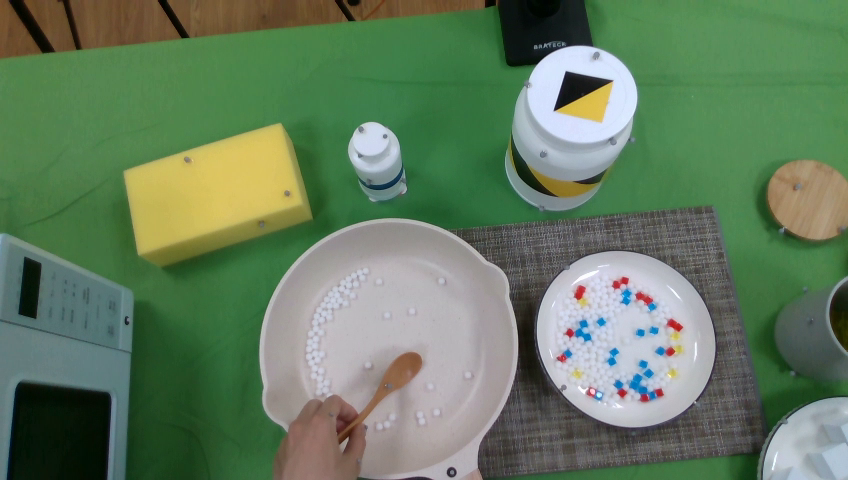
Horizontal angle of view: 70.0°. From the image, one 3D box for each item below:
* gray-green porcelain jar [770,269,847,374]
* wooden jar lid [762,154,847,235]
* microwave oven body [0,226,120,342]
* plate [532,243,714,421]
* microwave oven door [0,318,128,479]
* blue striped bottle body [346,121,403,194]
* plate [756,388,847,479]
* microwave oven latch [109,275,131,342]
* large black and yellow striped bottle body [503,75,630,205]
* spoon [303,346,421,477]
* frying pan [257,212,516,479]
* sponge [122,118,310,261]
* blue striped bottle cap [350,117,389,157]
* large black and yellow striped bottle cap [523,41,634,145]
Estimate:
[{"bbox_3d":[0.461,0.094,0.673,0.106,0.127,0.105,0,74,2],"label":"gray-green porcelain jar"},{"bbox_3d":[0.484,-0.057,0.770,0.108,0.021,0.108,0,76,2],"label":"wooden jar lid"},{"bbox_3d":[-0.511,0.238,0.592,0.326,0.261,0.439,-5,75,0],"label":"microwave oven body"},{"bbox_3d":[0.231,0.107,0.719,0.209,0.038,0.208,-1,74,2],"label":"plate"},{"bbox_3d":[-0.364,0.264,0.574,0.039,0.245,0.353,-5,74,1],"label":"microwave oven door"},{"bbox_3d":[-0.061,-0.106,0.750,0.063,0.121,0.062,-1,74,2],"label":"blue striped bottle body"},{"bbox_3d":[0.470,0.269,0.670,0.207,0.039,0.206,-1,74,2],"label":"plate"},{"bbox_3d":[-0.373,0.083,0.731,0.030,0.029,0.078,-4,75,1],"label":"microwave oven latch"},{"bbox_3d":[0.165,-0.131,0.717,0.131,0.185,0.130,-1,73,2],"label":"large black and yellow striped bottle body"},{"bbox_3d":[-0.065,0.183,0.664,0.041,0.021,0.193,50,46,-1],"label":"spoon"},{"bbox_3d":[0.007,0.196,0.668,0.307,0.103,0.483,-28,67,-5],"label":"frying pan"},{"bbox_3d":[-0.264,-0.064,0.776,0.207,0.061,0.117,-18,74,-4],"label":"sponge"},{"bbox_3d":[-0.063,-0.119,0.700,0.044,0.021,0.044,-1,71,4],"label":"blue striped bottle cap"},{"bbox_3d":[0.163,-0.156,0.637,0.115,0.019,0.114,0,76,2],"label":"large black and yellow striped bottle cap"}]
